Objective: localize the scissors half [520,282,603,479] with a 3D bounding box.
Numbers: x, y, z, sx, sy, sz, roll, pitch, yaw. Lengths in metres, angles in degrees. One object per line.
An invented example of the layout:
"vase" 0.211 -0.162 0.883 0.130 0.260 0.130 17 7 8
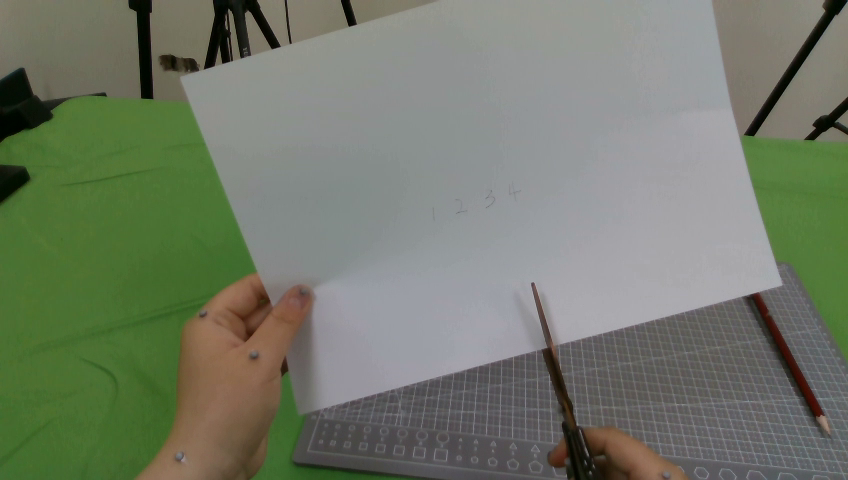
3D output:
"scissors half" 0.084 0.103 0.344 0.013 0.040 0.173 -17 67 -1

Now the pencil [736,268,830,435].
"pencil" 0.315 0.090 0.539 0.012 0.012 0.192 3 38 2

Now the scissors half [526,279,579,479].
"scissors half" 0.084 0.107 0.367 0.013 0.175 0.040 -16 7 -6
